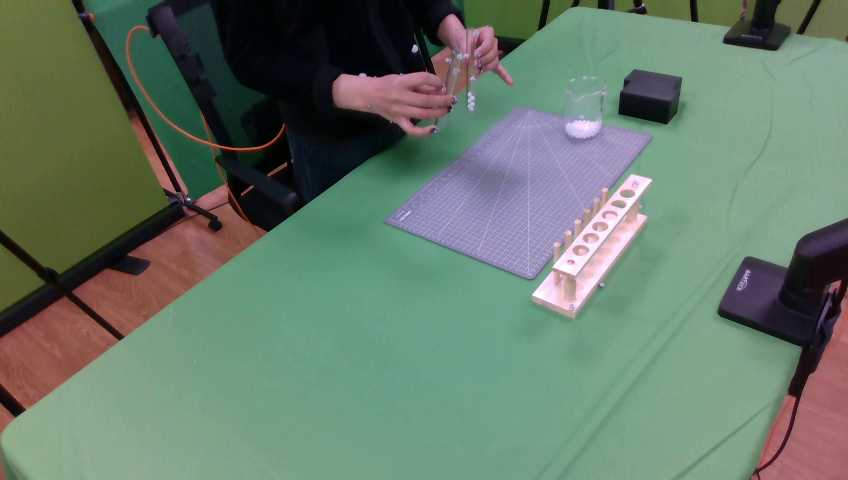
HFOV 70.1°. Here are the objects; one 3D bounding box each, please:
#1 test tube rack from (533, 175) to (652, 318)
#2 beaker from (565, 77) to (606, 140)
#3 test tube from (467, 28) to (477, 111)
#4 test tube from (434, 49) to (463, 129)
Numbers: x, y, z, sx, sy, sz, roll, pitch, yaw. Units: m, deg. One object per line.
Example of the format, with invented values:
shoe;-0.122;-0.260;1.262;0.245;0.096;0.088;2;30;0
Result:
test tube rack;0.250;-0.001;0.889;0.066;0.085;0.243;22;49;33
beaker;0.304;-0.247;1.153;0.073;0.101;0.084;15;47;27
test tube;0.082;-0.291;1.046;0.017;0.151;0.017;-2;40;2
test tube;0.038;-0.233;0.951;0.017;0.150;0.017;7;50;-8
